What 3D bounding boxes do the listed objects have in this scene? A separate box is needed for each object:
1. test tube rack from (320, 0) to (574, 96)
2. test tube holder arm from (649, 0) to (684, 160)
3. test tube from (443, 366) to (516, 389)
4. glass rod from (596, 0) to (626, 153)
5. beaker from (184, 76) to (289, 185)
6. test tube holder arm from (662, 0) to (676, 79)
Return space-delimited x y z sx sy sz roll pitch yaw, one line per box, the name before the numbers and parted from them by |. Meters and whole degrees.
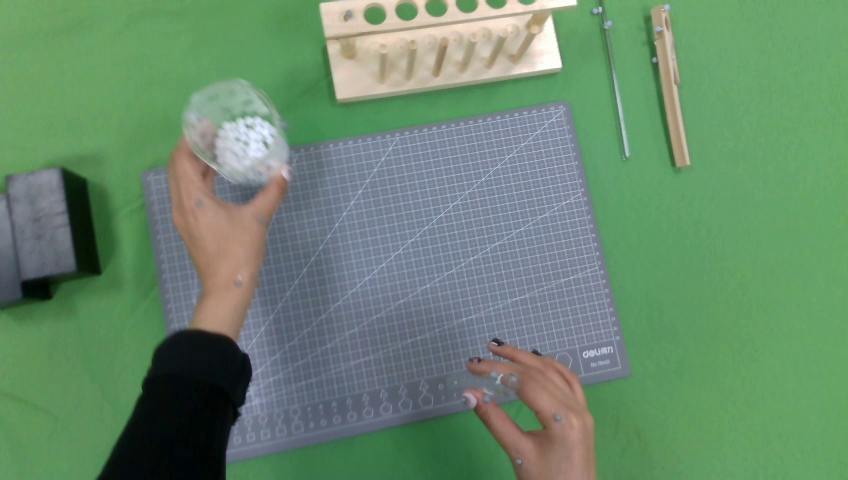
test tube rack | 0.024 -0.208 0.612 0.243 0.085 0.066 -9 84 -6
test tube holder arm | 0.264 -0.175 0.660 0.013 0.015 0.178 -1 83 -35
test tube | 0.041 0.110 0.488 0.017 0.150 0.017 3 78 -13
glass rod | 0.203 -0.193 0.664 0.008 0.008 0.199 -6 84 -6
beaker | -0.159 -0.087 0.533 0.074 0.100 0.084 0 87 -7
test tube holder arm | 0.265 -0.219 0.667 0.010 0.015 0.087 0 83 -35
